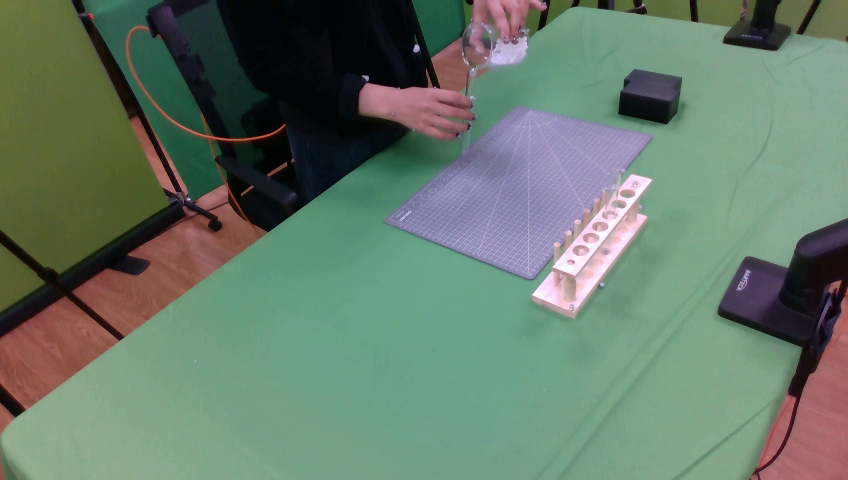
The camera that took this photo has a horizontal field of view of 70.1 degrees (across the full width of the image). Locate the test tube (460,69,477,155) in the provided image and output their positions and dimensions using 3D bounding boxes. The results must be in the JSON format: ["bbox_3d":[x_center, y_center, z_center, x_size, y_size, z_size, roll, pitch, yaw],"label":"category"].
[{"bbox_3d":[0.077,-0.222,1.057,0.017,0.151,0.017,4,26,-1],"label":"test tube"}]

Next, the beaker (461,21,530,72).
[{"bbox_3d":[0.124,-0.330,1.030,0.101,0.084,0.073,-16,43,-35],"label":"beaker"}]

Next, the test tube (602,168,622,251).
[{"bbox_3d":[0.264,-0.039,0.853,0.017,0.151,0.017,-5,44,6],"label":"test tube"}]

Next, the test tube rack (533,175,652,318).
[{"bbox_3d":[0.251,-0.001,0.889,0.066,0.085,0.243,22,49,33],"label":"test tube rack"}]
